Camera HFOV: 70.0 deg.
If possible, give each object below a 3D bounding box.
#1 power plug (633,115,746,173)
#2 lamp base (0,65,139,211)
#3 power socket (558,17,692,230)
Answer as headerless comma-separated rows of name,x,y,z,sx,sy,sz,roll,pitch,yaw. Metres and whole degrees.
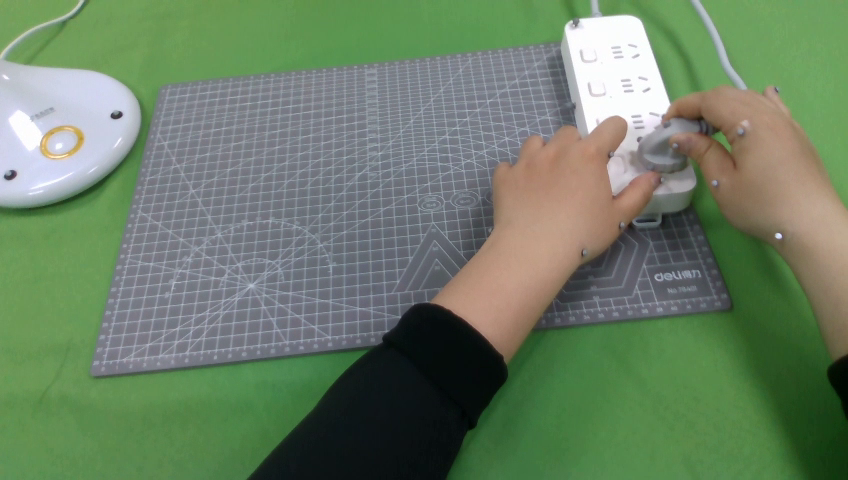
power plug,0.191,-0.063,0.443,0.072,0.053,0.035,6,54,14
lamp base,-0.356,-0.139,0.489,0.178,0.182,0.160,27,62,24
power socket,0.162,-0.109,0.508,0.072,0.033,0.224,-3,56,2
